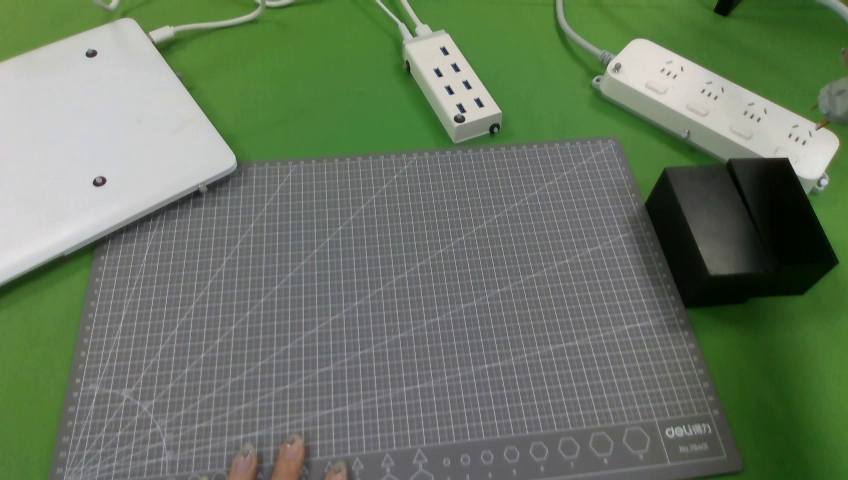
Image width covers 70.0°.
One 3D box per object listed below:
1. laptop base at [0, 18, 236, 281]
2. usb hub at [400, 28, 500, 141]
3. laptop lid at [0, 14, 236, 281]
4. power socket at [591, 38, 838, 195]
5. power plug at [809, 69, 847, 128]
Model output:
[{"bbox_3d":[-0.366,-0.055,0.506,0.354,0.023,0.233,-32,66,-20],"label":"laptop base"},{"bbox_3d":[0.022,-0.151,0.577,0.049,0.025,0.124,-20,60,-13],"label":"usb hub"},{"bbox_3d":[-0.364,-0.061,0.494,0.357,0.013,0.239,-30,65,-19],"label":"laptop lid"},{"bbox_3d":[0.267,-0.119,0.562,0.225,0.033,0.072,35,62,19],"label":"power socket"},{"bbox_3d":[0.324,-0.120,0.464,0.035,0.053,0.072,32,69,0],"label":"power plug"}]
